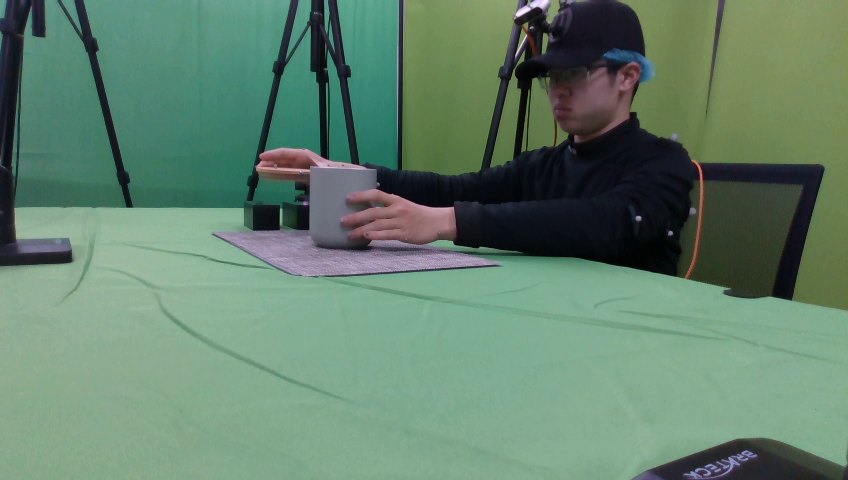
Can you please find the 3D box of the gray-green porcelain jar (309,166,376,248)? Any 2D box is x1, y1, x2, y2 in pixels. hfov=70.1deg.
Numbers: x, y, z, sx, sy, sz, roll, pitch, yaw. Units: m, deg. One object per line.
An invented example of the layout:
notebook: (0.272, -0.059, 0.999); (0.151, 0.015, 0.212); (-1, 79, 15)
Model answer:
gray-green porcelain jar: (-0.130, -0.054, 0.966); (0.106, 0.126, 0.106); (2, 7, 0)

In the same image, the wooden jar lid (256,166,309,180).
wooden jar lid: (-0.260, -0.125, 1.135); (0.108, 0.020, 0.108); (4, 10, 0)
